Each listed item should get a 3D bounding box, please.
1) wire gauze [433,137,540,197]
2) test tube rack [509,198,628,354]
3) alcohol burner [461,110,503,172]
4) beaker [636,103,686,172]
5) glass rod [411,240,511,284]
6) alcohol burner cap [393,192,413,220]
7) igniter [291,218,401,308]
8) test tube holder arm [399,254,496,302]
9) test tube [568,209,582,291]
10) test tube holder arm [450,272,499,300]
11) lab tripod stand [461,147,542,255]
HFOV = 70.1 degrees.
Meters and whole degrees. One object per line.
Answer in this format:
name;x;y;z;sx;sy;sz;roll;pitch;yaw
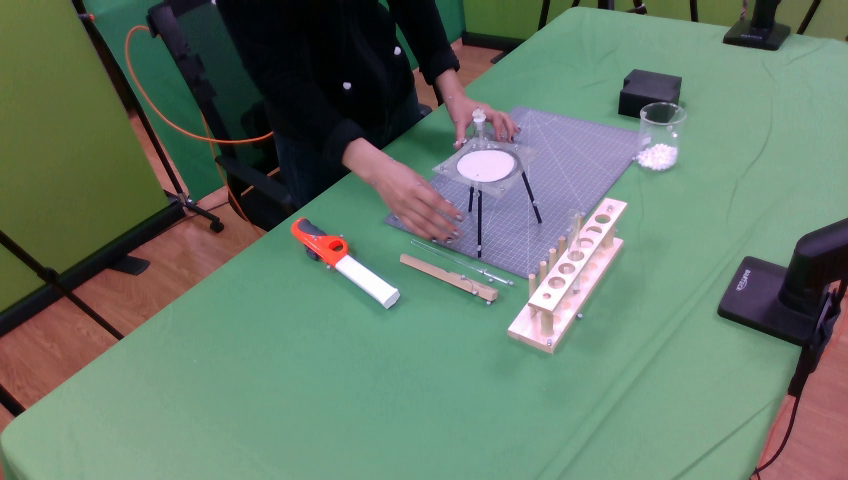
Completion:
wire gauze;0.094;-0.116;0.907;0.124;0.011;0.122;21;47;30
test tube rack;0.206;0.039;0.850;0.066;0.085;0.243;20;48;31
alcohol burner;0.105;-0.185;1.108;0.078;0.119;0.077;-4;41;4
beaker;0.413;-0.177;1.055;0.084;0.101;0.073;-28;44;-21
glass rod;0.053;0.033;0.946;0.198;0.008;0.008;22;50;36
alcohol burner cap;-0.038;-0.061;1.043;0.034;0.048;0.033;-5;41;5
igniter;-0.135;0.030;0.971;0.057;0.025;0.274;-42;49;-20
test tube holder arm;0.032;0.055;0.914;0.177;0.015;0.013;21;15;32
test tube;0.200;0.017;0.799;0.017;0.151;0.017;-8;45;8
test tube holder arm;0.071;0.068;0.895;0.087;0.015;0.010;21;15;32
lab tripod stand;0.114;-0.069;0.953;0.148;0.132;0.147;-5;38;4
